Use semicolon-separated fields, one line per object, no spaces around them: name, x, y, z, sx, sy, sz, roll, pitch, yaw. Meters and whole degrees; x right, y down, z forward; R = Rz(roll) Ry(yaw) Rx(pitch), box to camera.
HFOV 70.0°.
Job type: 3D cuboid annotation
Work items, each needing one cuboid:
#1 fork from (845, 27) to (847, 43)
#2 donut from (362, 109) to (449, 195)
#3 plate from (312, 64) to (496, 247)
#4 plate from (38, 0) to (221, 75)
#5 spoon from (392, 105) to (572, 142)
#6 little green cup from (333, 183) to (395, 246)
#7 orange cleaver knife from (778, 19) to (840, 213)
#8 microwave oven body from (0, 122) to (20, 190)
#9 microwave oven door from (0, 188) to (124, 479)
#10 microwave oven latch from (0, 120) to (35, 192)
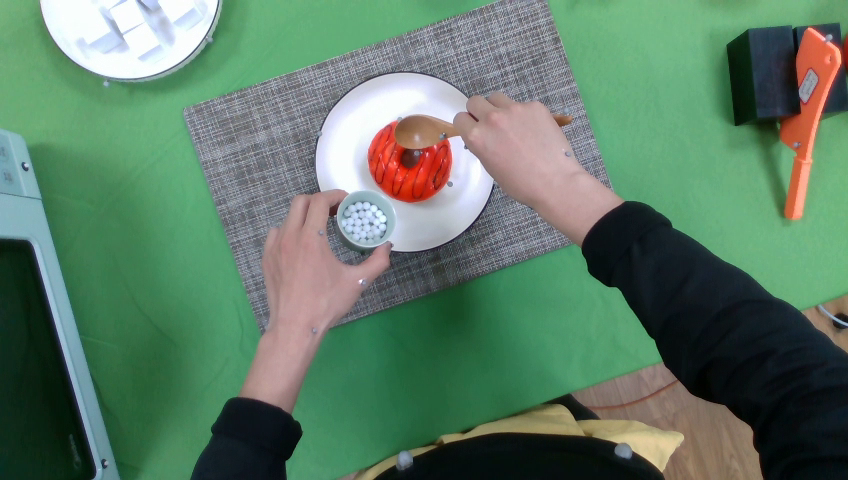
fork;0.579;-0.230;0.654;0.206;0.019;0.028;9;87;41
donut;-0.020;-0.099;0.687;0.099;0.048;0.099;0;92;1
plate;-0.023;-0.096;0.699;0.209;0.038;0.209;0;90;0
plate;-0.334;-0.291;0.701;0.208;0.039;0.207;0;89;0
spoon;0.052;-0.118;0.605;0.192;0.021;0.042;4;130;32
little green cup;-0.063;-0.023;0.617;0.062;0.039;0.061;5;72;-14
orange cleaver knife;0.423;-0.135;0.684;0.012;0.076;0.213;-4;119;2
microwave oven body;-0.559;0.117;0.582;0.326;0.260;0.441;-16;90;-1
microwave oven door;-0.407;0.118;0.578;0.039;0.244;0.355;-17;89;-1
microwave oven latch;-0.466;-0.092;0.680;0.030;0.029;0.079;-15;90;-1
